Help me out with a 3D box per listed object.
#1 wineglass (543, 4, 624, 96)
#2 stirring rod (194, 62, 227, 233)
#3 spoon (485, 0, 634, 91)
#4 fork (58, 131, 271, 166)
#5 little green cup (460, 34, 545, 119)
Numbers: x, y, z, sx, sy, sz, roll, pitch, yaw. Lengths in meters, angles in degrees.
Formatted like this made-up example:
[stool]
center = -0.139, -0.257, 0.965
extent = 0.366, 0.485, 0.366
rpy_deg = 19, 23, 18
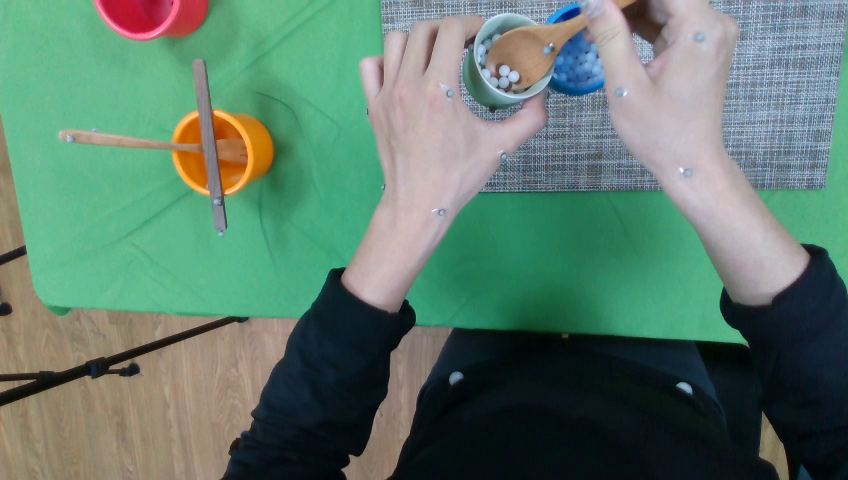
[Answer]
[wineglass]
center = 0.132, -0.165, 0.538
extent = 0.073, 0.172, 0.074
rpy_deg = 2, 104, 9
[stirring rod]
center = -0.221, -0.094, 0.629
extent = 0.014, 0.006, 0.177
rpy_deg = 0, 104, 10
[spoon]
center = 0.104, -0.139, 0.369
extent = 0.042, 0.021, 0.193
rpy_deg = 53, 149, -13
[fork]
center = -0.263, -0.097, 0.637
extent = 0.208, 0.018, 0.028
rpy_deg = 0, 116, -36
[little green cup]
center = 0.057, -0.124, 0.454
extent = 0.061, 0.038, 0.062
rpy_deg = 0, 113, 1
